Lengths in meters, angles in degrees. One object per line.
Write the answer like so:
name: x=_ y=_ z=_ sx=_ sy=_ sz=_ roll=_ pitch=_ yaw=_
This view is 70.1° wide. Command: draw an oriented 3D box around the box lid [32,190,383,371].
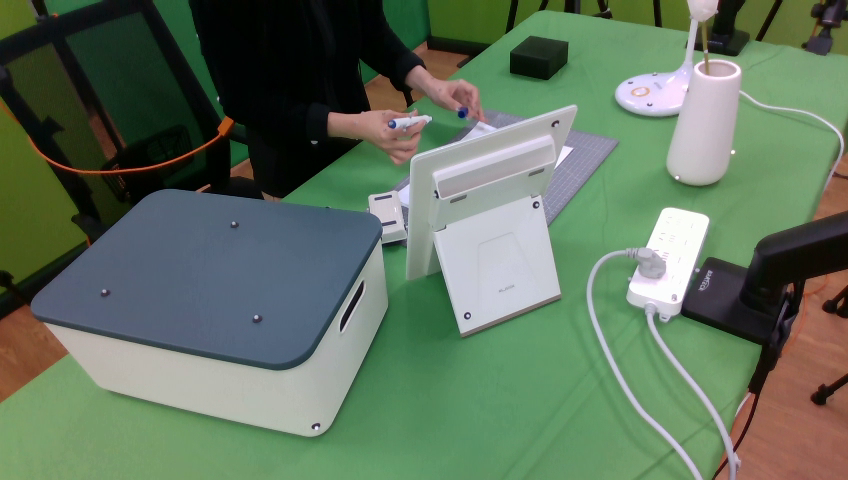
box lid: x=-0.257 y=0.032 z=0.750 sx=0.370 sy=0.015 sz=0.263 roll=7 pitch=42 yaw=16

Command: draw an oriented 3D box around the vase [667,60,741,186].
vase: x=0.463 y=-0.189 z=0.994 sx=0.098 sy=0.201 sz=0.097 roll=-4 pitch=40 yaw=4

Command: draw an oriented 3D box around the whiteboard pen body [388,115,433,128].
whiteboard pen body: x=-0.019 y=-0.208 z=1.055 sx=0.017 sy=0.017 sz=0.141 roll=18 pitch=22 yaw=27

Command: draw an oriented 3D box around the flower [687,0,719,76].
flower: x=0.436 y=-0.242 z=0.934 sx=0.038 sy=0.364 sz=0.043 roll=-24 pitch=49 yaw=8

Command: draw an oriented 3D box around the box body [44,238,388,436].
box body: x=-0.251 y=0.088 z=0.799 sx=0.362 sy=0.161 sz=0.254 roll=7 pitch=42 yaw=16

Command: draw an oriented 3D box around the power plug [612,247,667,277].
power plug: x=0.306 y=0.031 z=0.852 sx=0.072 sy=0.053 sz=0.035 roll=21 pitch=48 yaw=37

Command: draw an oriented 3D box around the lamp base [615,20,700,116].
lamp base: x=0.484 y=-0.364 z=1.211 sx=0.180 sy=0.181 sz=0.159 roll=-15 pitch=41 yaw=-14

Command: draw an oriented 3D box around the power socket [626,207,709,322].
power socket: x=0.360 y=0.026 z=0.886 sx=0.072 sy=0.033 sz=0.227 roll=17 pitch=46 yaw=27

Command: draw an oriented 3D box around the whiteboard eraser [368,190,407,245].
whiteboard eraser: x=-0.061 y=-0.035 z=1.006 sx=0.056 sy=0.042 sz=0.112 roll=-9 pitch=40 yaw=-3

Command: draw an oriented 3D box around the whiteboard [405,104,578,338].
whiteboard: x=0.102 y=0.002 z=0.787 sx=0.218 sy=0.306 sz=0.143 roll=-19 pitch=62 yaw=-14

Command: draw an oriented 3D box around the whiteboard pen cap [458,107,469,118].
whiteboard pen cap: x=0.076 y=-0.246 z=1.168 sx=0.018 sy=0.018 sz=0.033 roll=6 pitch=26 yaw=15
